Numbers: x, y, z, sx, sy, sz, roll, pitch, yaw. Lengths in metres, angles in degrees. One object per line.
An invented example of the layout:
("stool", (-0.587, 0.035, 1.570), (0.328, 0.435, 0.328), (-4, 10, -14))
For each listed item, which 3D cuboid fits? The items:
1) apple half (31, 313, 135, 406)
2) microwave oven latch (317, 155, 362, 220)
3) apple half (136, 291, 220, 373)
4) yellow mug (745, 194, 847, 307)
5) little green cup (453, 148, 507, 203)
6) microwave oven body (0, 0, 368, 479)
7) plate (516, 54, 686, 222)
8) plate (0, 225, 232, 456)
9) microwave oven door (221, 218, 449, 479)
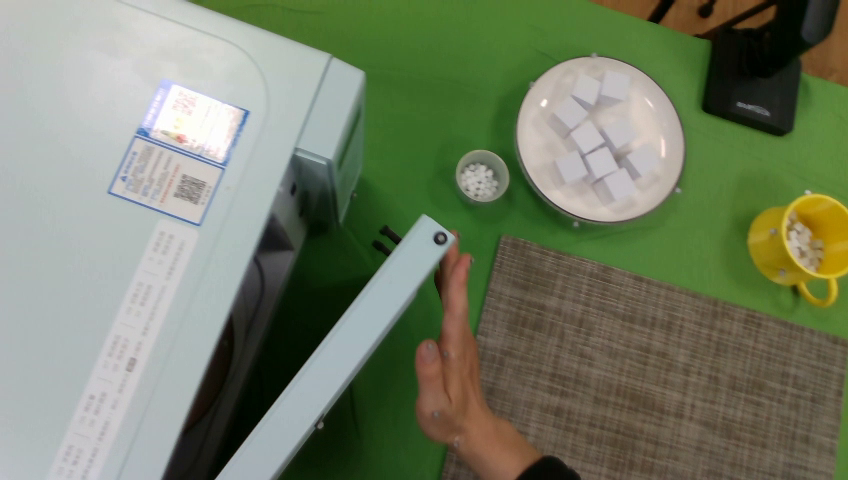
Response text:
("apple half", (-0.309, 0.110, 0.540), (0.081, 0.053, 0.074), (33, 90, -13))
("microwave oven latch", (-0.092, -0.064, 0.663), (0.030, 0.029, 0.079), (22, 79, -3))
("apple half", (-0.237, 0.087, 0.568), (0.081, 0.033, 0.081), (1, 79, -4))
("yellow mug", (0.454, 0.016, 0.725), (0.100, 0.064, 0.130), (-12, 83, -9))
("little green cup", (0.063, -0.071, 0.702), (0.061, 0.038, 0.061), (1, 82, -6))
("microwave oven body", (-0.278, 0.031, 0.524), (0.326, 0.260, 0.440), (20, 79, -4))
("plate", (0.210, -0.120, 0.731), (0.208, 0.039, 0.207), (1, 80, -7))
("plate", (-0.286, 0.092, 0.567), (0.209, 0.038, 0.208), (2, 80, -9))
("microwave oven door", (-0.110, 0.144, 0.522), (0.039, 0.244, 0.355), (37, 78, 1))
